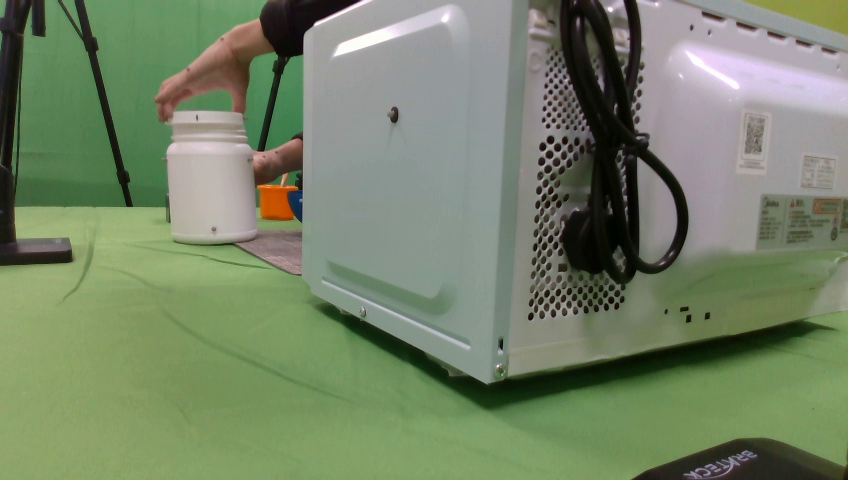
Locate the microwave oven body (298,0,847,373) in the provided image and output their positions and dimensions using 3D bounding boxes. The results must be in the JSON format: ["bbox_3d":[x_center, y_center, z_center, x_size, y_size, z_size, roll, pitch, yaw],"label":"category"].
[{"bbox_3d":[0.151,-0.055,0.542,0.444,0.260,0.324,-2,7,-33],"label":"microwave oven body"}]

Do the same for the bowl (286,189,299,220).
[{"bbox_3d":[-0.179,-0.051,1.114,0.151,0.077,0.151,3,8,0],"label":"bowl"}]

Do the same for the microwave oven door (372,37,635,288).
[{"bbox_3d":[0.109,-0.080,0.686,0.358,0.243,0.039,-2,9,-33],"label":"microwave oven door"}]

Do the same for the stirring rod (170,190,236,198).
[{"bbox_3d":[-0.465,-0.098,1.283,0.014,0.006,0.177,42,22,17],"label":"stirring rod"}]

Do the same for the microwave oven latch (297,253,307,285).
[{"bbox_3d":[-0.082,0.027,0.583,0.079,0.029,0.030,-2,7,-33],"label":"microwave oven latch"}]

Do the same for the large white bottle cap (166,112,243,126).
[{"bbox_3d":[-0.345,-0.190,0.953,0.115,0.018,0.115,-1,8,0],"label":"large white bottle cap"}]

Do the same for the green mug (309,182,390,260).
[{"bbox_3d":[-0.102,-0.029,0.864,0.126,0.105,0.092,-3,8,-40],"label":"green mug"}]

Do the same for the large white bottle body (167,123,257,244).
[{"bbox_3d":[-0.341,-0.092,0.977,0.131,0.184,0.130,0,8,0],"label":"large white bottle body"}]

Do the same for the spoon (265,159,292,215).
[{"bbox_3d":[-0.334,-0.128,1.424,0.041,0.193,0.021,2,-38,5],"label":"spoon"}]
